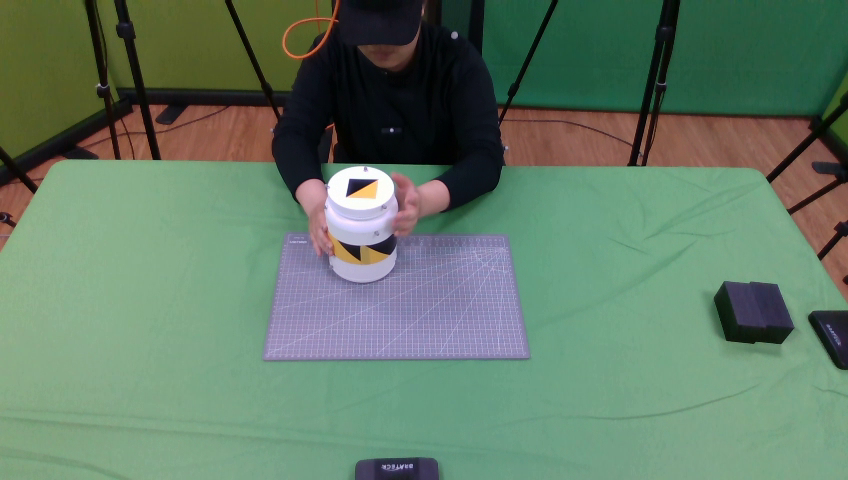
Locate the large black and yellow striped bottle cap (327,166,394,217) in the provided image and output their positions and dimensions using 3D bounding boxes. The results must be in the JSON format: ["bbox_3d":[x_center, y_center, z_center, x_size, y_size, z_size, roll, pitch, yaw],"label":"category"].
[{"bbox_3d":[-0.109,-0.085,1.039,0.115,0.019,0.114,3,47,-3],"label":"large black and yellow striped bottle cap"}]

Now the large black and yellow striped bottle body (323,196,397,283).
[{"bbox_3d":[-0.114,-0.026,1.099,0.131,0.185,0.130,2,46,-2],"label":"large black and yellow striped bottle body"}]
